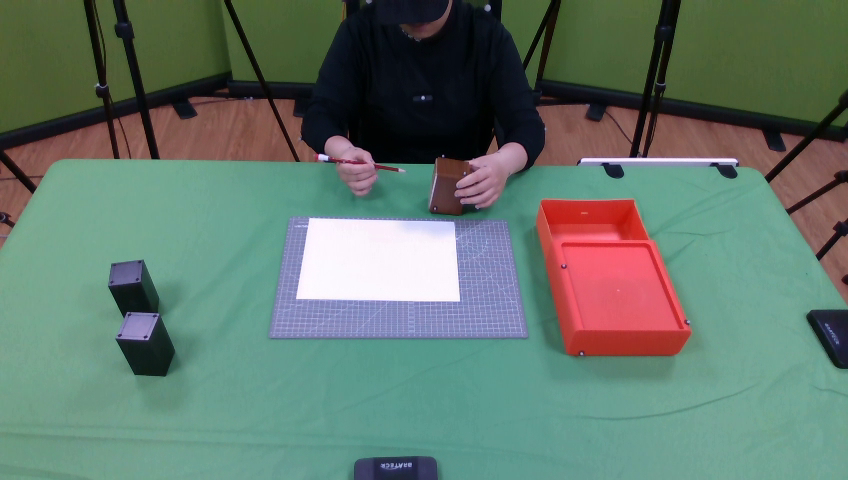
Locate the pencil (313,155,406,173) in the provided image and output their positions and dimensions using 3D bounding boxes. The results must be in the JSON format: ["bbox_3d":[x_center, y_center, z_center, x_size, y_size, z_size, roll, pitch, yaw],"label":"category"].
[{"bbox_3d":[-0.131,-0.153,1.227,0.194,0.012,0.012,10,46,5],"label":"pencil"}]

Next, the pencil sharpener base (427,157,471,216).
[{"bbox_3d":[0.052,-0.107,1.245,0.077,0.107,0.061,8,44,-5],"label":"pencil sharpener base"}]

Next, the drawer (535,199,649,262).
[{"bbox_3d":[0.332,0.015,1.169,0.195,0.073,0.210,0,46,-5],"label":"drawer"}]

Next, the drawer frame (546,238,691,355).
[{"bbox_3d":[0.338,0.097,1.086,0.202,0.083,0.212,0,46,-4],"label":"drawer frame"}]

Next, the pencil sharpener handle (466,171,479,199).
[{"bbox_3d":[0.104,-0.110,1.242,0.031,0.068,0.036,8,48,-5],"label":"pencil sharpener handle"}]
